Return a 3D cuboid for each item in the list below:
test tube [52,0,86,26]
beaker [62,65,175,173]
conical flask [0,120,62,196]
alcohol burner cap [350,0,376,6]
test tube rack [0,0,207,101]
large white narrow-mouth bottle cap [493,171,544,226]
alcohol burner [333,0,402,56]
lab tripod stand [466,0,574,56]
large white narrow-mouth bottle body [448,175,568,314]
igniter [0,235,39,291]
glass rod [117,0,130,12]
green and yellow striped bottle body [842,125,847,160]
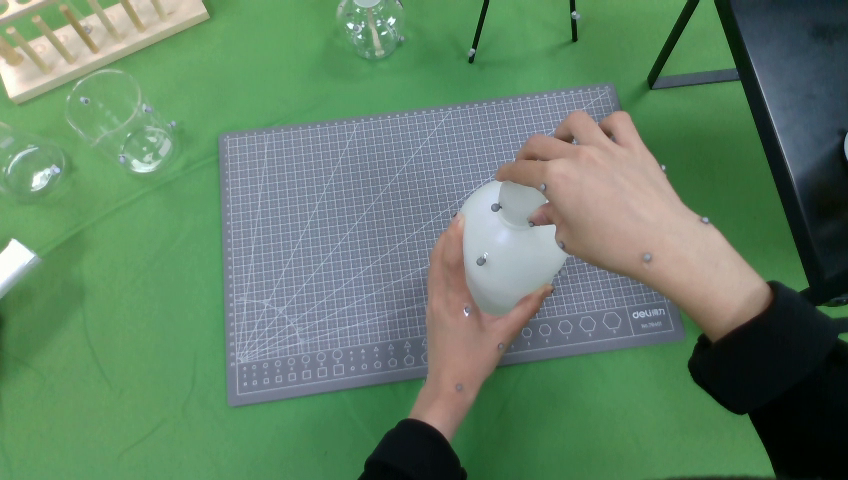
[{"bbox_3d":[-0.408,-0.282,0.641,0.017,0.151,0.017,-2,68,5],"label":"test tube"},{"bbox_3d":[-0.311,-0.118,0.629,0.074,0.101,0.083,7,71,4],"label":"beaker"},{"bbox_3d":[-0.435,-0.100,0.612,0.075,0.122,0.075,0,70,1],"label":"conical flask"},{"bbox_3d":[-0.066,-0.274,0.634,0.034,0.048,0.033,0,70,0],"label":"alcohol burner cap"},{"bbox_3d":[-0.384,-0.256,0.684,0.242,0.086,0.066,-28,73,-9],"label":"test tube rack"},{"bbox_3d":[0.069,-0.030,0.440,0.038,0.024,0.037,0,73,1],"label":"large white narrow-mouth bottle cap"},{"bbox_3d":[-0.064,-0.261,0.668,0.078,0.120,0.077,0,69,0],"label":"alcohol burner"},{"bbox_3d":[0.105,-0.282,0.662,0.148,0.132,0.147,0,70,0],"label":"lab tripod stand"},{"bbox_3d":[0.072,0.000,0.532,0.102,0.196,0.101,0,72,1],"label":"large white narrow-mouth bottle body"},{"bbox_3d":[-0.466,0.107,0.542,0.057,0.025,0.276,35,72,10],"label":"igniter"},{"bbox_3d":[-0.367,-0.315,0.634,0.008,0.201,0.008,-3,65,7],"label":"glass rod"},{"bbox_3d":[0.350,-0.090,0.410,0.063,0.120,0.063,0,70,1],"label":"green and yellow striped bottle body"}]
